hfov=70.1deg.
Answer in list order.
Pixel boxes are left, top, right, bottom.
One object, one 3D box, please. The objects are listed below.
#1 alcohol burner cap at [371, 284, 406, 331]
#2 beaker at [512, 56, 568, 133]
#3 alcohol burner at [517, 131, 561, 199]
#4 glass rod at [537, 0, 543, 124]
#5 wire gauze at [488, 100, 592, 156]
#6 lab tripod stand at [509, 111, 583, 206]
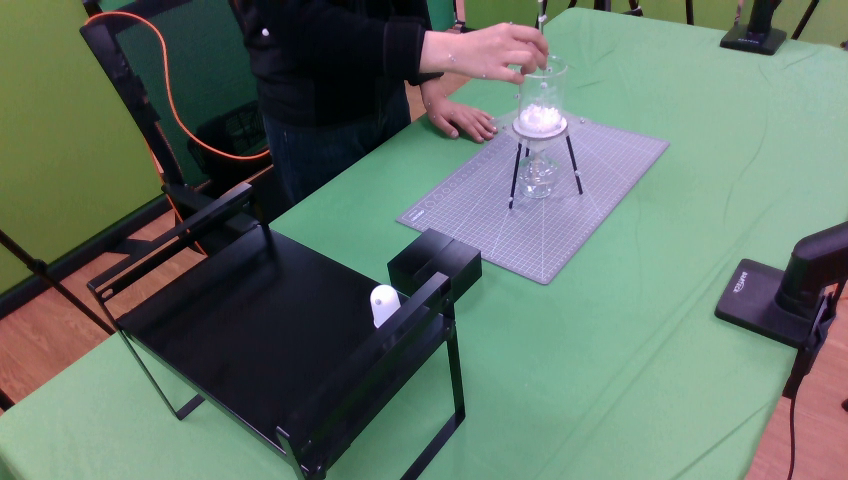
[{"bbox_3d":[-0.037,0.065,0.608,0.034,0.048,0.033,-4,41,4],"label":"alcohol burner cap"},{"bbox_3d":[0.181,-0.225,0.946,0.084,0.101,0.074,3,41,12],"label":"beaker"},{"bbox_3d":[0.193,-0.131,1.026,0.078,0.119,0.077,-4,38,4],"label":"alcohol burner"},{"bbox_3d":[0.171,-0.256,0.890,0.008,0.201,0.008,-6,45,6],"label":"glass rod"},{"bbox_3d":[0.185,-0.187,0.975,0.122,0.011,0.124,-28,46,-22],"label":"wire gauze"},{"bbox_3d":[0.198,-0.139,1.019,0.148,0.132,0.147,-3,39,3],"label":"lab tripod stand"}]
